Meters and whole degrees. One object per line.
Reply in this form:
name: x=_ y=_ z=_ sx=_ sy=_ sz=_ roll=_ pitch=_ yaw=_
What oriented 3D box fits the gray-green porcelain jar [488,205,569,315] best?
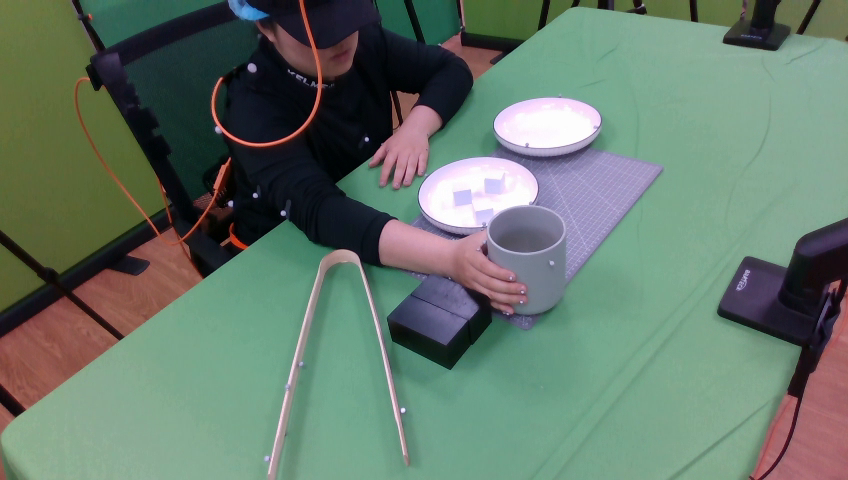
gray-green porcelain jar: x=0.143 y=0.032 z=0.831 sx=0.106 sy=0.127 sz=0.105 roll=-5 pitch=40 yaw=5

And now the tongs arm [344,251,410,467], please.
tongs arm: x=-0.068 y=0.137 z=0.830 sx=0.028 sy=0.028 sz=0.384 roll=-16 pitch=40 yaw=-5

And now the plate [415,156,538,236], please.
plate: x=0.090 y=-0.072 z=1.034 sx=0.207 sy=0.039 sz=0.206 roll=-5 pitch=40 yaw=5

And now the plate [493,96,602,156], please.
plate: x=0.238 y=-0.218 z=1.180 sx=0.209 sy=0.038 sz=0.208 roll=-4 pitch=39 yaw=4

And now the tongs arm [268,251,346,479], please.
tongs arm: x=-0.151 y=0.147 z=0.827 sx=0.051 sy=0.026 sz=0.383 roll=-5 pitch=39 yaw=3
